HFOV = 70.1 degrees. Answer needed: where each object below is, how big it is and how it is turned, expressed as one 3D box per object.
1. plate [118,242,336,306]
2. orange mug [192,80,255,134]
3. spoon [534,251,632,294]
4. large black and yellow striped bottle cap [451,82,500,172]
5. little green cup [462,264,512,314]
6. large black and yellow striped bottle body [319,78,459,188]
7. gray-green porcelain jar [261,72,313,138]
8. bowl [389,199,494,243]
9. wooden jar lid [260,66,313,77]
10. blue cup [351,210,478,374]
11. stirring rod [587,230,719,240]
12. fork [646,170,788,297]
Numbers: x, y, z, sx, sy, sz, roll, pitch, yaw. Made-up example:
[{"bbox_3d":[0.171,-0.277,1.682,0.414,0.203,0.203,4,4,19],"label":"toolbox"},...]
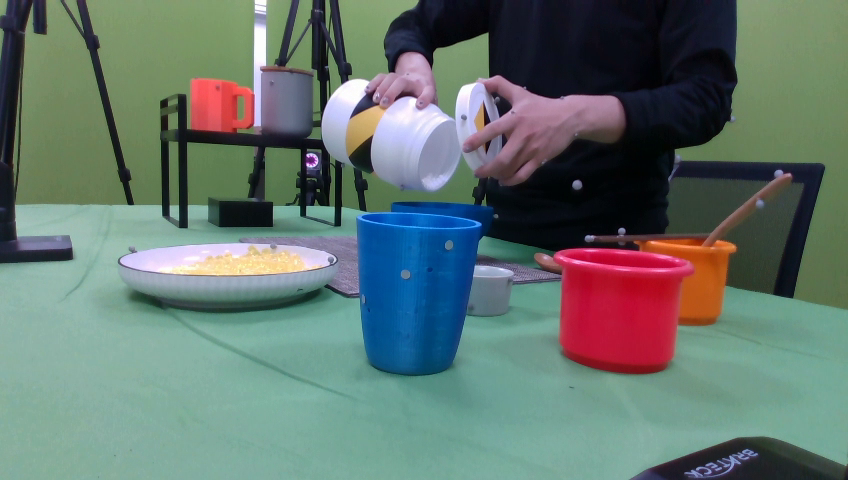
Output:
[{"bbox_3d":[-0.194,0.033,0.615,0.209,0.038,0.209,2,7,0],"label":"plate"},{"bbox_3d":[-0.389,-0.257,1.172,0.126,0.100,0.083,-1,6,9],"label":"orange mug"},{"bbox_3d":[0.193,0.038,0.753,0.042,0.021,0.193,14,2,-21],"label":"spoon"},{"bbox_3d":[0.069,-0.146,0.783,0.018,0.115,0.115,-7,2,30],"label":"large black and yellow striped bottle cap"},{"bbox_3d":[0.053,0.047,0.580,0.061,0.038,0.061,3,8,0],"label":"little green cup"},{"bbox_3d":[-0.049,-0.156,0.897,0.183,0.130,0.131,25,18,30],"label":"large black and yellow striped bottle body"},{"bbox_3d":[-0.284,-0.276,1.253,0.106,0.126,0.106,2,8,0],"label":"gray-green porcelain jar"},{"bbox_3d":[0.023,-0.015,0.872,0.151,0.077,0.151,3,7,0],"label":"bowl"},{"bbox_3d":[-0.283,-0.339,1.245,0.108,0.020,0.108,5,9,-1],"label":"wooden jar lid"},{"bbox_3d":[-0.009,0.034,0.414,0.093,0.100,0.092,4,8,0],"label":"blue cup"},{"bbox_3d":[0.226,-0.005,0.587,0.177,0.006,0.014,-2,9,-29],"label":"stirring rod"},{"bbox_3d":[0.256,0.004,0.543,0.028,0.018,0.207,3,-36,-10],"label":"fork"}]
